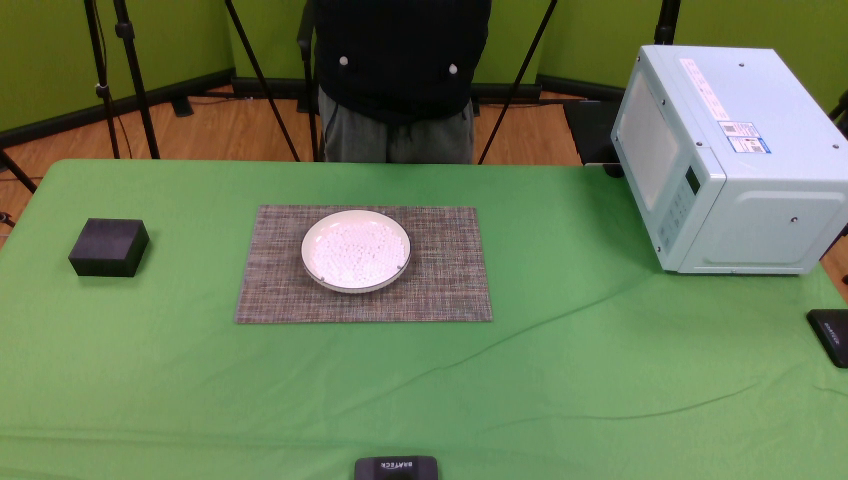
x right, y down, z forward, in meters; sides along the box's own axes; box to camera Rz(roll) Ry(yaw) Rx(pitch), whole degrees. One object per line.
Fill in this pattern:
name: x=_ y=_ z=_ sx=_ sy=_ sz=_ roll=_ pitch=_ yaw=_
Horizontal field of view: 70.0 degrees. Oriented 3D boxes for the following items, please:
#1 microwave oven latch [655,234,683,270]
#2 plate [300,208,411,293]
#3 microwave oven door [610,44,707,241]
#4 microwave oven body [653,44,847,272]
microwave oven latch: x=0.473 y=0.021 z=1.175 sx=0.030 sy=0.029 sz=0.078 roll=2 pitch=46 yaw=-1
plate: x=-0.128 y=0.022 z=1.149 sx=0.209 sy=0.038 sz=0.208 roll=2 pitch=47 yaw=-2
microwave oven door: x=0.474 y=-0.208 z=1.250 sx=0.039 sy=0.245 sz=0.353 roll=0 pitch=47 yaw=-3
microwave oven body: x=0.620 y=-0.172 z=1.234 sx=0.326 sy=0.261 sz=0.439 roll=0 pitch=46 yaw=-3
